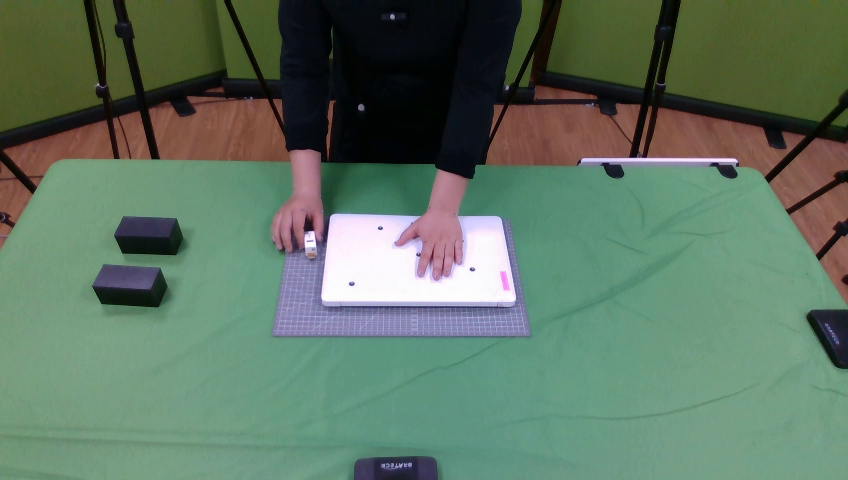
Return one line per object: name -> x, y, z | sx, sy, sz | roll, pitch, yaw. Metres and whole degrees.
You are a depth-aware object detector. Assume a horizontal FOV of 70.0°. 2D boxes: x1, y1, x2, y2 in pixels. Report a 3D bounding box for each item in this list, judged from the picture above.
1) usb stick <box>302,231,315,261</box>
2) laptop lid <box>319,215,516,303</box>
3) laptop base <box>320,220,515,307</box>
usb stick -> -0.220, 0.013, 1.161 | 0.021, 0.027, 0.059 | -6, 51, -11
laptop lid -> -0.013, 0.031, 1.155 | 0.357, 0.013, 0.240 | 2, 43, -3
laptop base -> -0.013, 0.040, 1.160 | 0.355, 0.023, 0.234 | 0, 42, -4
